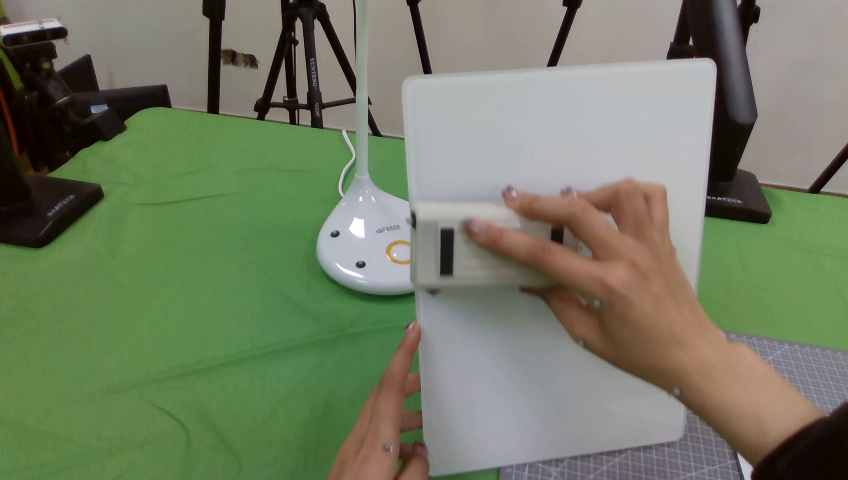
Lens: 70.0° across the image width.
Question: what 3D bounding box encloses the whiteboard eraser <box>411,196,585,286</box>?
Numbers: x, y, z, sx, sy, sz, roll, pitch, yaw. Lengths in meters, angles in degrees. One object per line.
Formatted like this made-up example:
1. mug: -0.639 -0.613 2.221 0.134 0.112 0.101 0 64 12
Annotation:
1. whiteboard eraser: 0.048 0.000 0.401 0.113 0.056 0.041 -2 18 -10

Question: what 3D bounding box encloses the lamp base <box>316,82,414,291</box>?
1. lamp base: -0.046 -0.065 0.648 0.161 0.182 0.177 -22 41 -29

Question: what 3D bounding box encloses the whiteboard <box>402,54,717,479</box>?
1. whiteboard: 0.092 0.011 0.503 0.217 0.307 0.143 -5 18 -7
